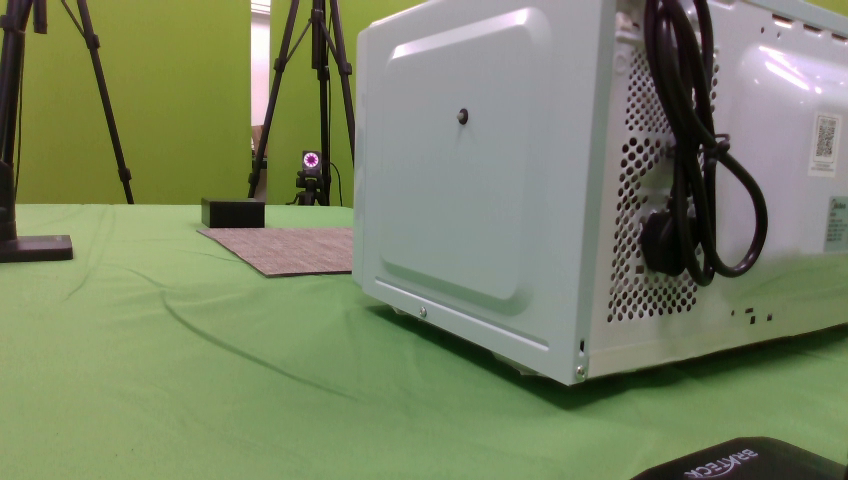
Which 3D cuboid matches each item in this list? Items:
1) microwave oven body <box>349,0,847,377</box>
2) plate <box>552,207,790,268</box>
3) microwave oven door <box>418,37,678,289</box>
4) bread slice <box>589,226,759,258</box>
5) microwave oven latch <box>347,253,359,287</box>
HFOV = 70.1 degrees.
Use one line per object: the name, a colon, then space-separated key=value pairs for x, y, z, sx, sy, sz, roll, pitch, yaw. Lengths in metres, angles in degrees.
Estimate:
microwave oven body: x=0.199 y=-0.053 z=0.539 sx=0.444 sy=0.260 sz=0.324 roll=-1 pitch=8 yaw=-32
plate: x=0.225 y=-0.005 z=0.572 sx=0.209 sy=0.038 sz=0.209 roll=4 pitch=7 yaw=0
microwave oven door: x=0.159 y=-0.078 z=0.683 sx=0.358 sy=0.243 sz=0.039 roll=-2 pitch=9 yaw=-32
bread slice: x=0.226 y=0.000 z=0.568 sx=0.132 sy=0.019 sz=0.104 roll=3 pitch=6 yaw=-23
microwave oven latch: x=-0.034 y=0.028 z=0.579 sx=0.079 sy=0.029 sz=0.030 roll=-1 pitch=7 yaw=-30
